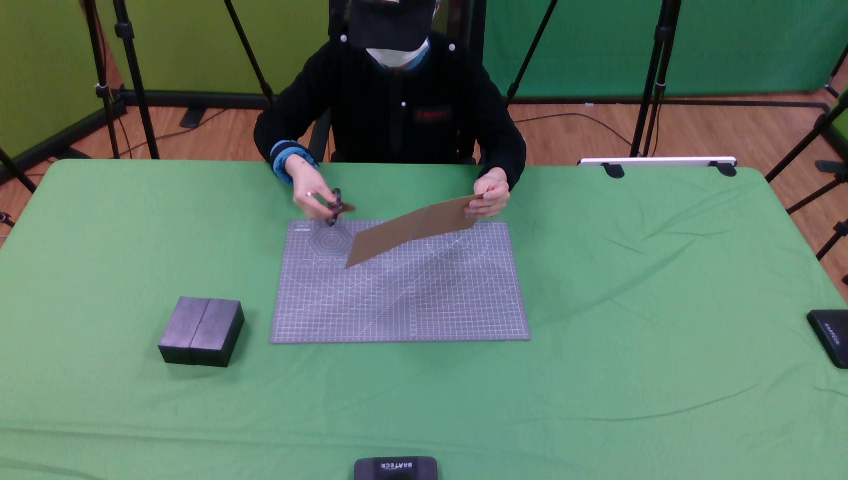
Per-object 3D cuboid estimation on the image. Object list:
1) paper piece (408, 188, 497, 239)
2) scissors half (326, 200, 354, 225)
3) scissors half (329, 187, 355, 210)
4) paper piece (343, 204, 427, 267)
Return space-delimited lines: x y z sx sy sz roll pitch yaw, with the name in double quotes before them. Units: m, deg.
"paper piece" 0.048 -0.044 1.069 0.138 0.136 0.008 -13 70 -22
"scissors half" -0.153 -0.054 1.104 0.013 0.175 0.040 17 76 -21
"scissors half" -0.148 -0.073 1.105 0.013 0.040 0.174 11 4 -22
"paper piece" -0.067 -0.007 1.014 0.136 0.136 0.004 -24 72 -25
